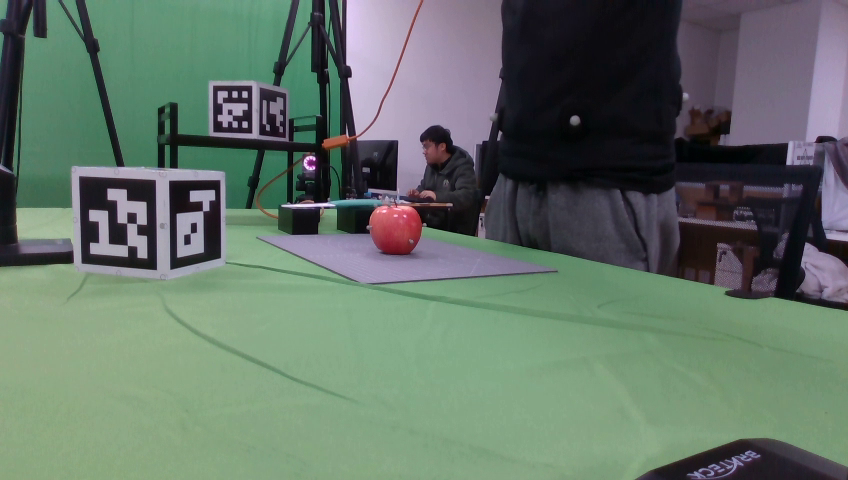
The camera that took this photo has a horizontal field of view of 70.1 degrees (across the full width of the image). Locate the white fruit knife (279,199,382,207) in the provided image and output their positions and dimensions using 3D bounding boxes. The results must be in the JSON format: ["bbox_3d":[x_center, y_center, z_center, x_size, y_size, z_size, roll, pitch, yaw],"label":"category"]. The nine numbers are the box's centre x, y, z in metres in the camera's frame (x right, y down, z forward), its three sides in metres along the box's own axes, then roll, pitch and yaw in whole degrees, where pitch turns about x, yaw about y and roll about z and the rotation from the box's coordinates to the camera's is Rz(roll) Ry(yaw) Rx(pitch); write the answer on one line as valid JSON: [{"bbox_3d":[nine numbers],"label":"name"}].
[{"bbox_3d":[-0.182,-0.072,1.188,0.208,0.016,0.027,-3,17,-31],"label":"white fruit knife"}]

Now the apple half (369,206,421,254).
[{"bbox_3d":[-0.039,-0.014,0.919,0.081,0.074,0.053,3,11,-32],"label":"apple half"}]

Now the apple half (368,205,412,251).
[{"bbox_3d":[-0.059,-0.021,0.951,0.082,0.081,0.032,-2,13,-32],"label":"apple half"}]
